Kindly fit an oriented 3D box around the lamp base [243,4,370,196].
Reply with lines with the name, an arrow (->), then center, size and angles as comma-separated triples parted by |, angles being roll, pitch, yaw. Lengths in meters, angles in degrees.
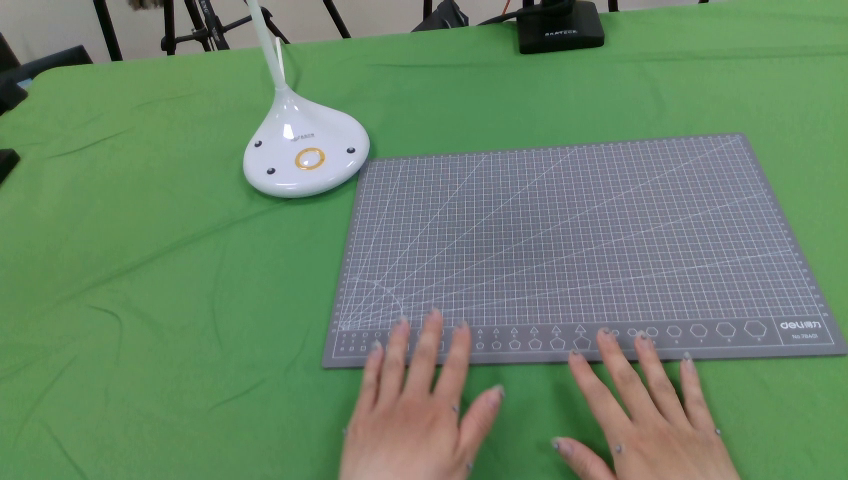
lamp base -> -0.164, -0.171, 0.714 | 0.161, 0.182, 0.177 | -25, 45, -13
